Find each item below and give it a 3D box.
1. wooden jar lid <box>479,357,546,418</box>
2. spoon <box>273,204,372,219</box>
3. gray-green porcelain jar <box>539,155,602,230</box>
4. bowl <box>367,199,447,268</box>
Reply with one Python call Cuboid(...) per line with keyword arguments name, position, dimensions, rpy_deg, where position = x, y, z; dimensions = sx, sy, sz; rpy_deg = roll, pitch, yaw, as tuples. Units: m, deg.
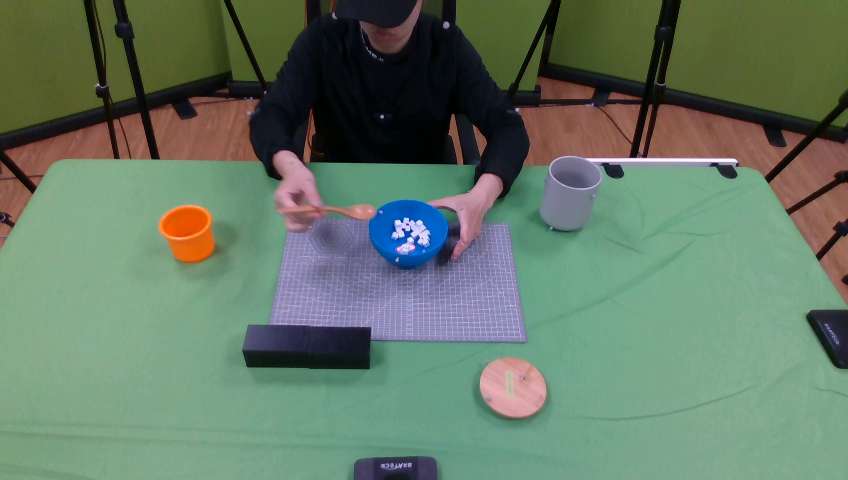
Cuboid(name="wooden jar lid", position=(0.142, 0.240, 0.979), dimensions=(0.108, 0.021, 0.107), rpy_deg=(1, 46, -1))
Cuboid(name="spoon", position=(-0.173, -0.054, 1.054), dimensions=(0.194, 0.022, 0.041), rpy_deg=(2, 41, -42))
Cuboid(name="gray-green porcelain jar", position=(0.294, -0.091, 1.235), dimensions=(0.106, 0.127, 0.105), rpy_deg=(2, 46, -2))
Cuboid(name="bowl", position=(-0.034, 0.000, 1.152), dimensions=(0.151, 0.077, 0.150), rpy_deg=(3, 46, -2))
